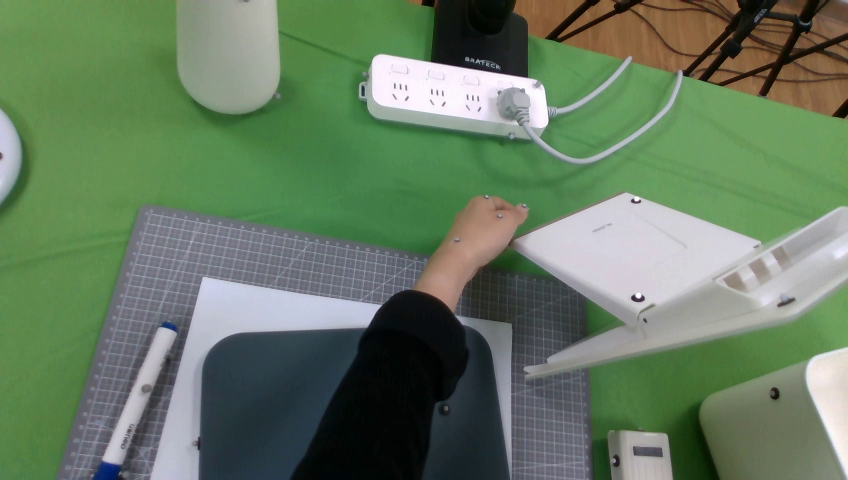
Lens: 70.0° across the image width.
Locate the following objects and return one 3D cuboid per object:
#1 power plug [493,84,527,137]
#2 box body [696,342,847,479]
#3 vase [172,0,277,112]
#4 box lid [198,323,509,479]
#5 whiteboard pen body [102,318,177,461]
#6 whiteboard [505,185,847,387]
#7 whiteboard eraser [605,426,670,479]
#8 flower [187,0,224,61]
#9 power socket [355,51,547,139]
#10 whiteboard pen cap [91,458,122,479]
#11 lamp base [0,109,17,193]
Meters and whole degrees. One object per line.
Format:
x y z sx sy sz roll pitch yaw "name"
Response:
0.092 -0.140 0.672 0.035 0.053 0.072 15 70 -11 "power plug"
0.443 0.276 0.551 0.255 0.161 0.361 -7 69 -20 "box body"
-0.181 -0.205 0.546 0.098 0.201 0.097 6 64 -13 "vase"
-0.046 0.246 0.494 0.264 0.015 0.368 0 68 -18 "box lid"
-0.229 0.129 0.479 0.017 0.017 0.140 18 65 -9 "whiteboard pen body"
0.207 -0.004 0.514 0.218 0.306 0.143 -21 79 -26 "whiteboard"
0.199 0.231 0.563 0.056 0.042 0.112 9 65 -16 "whiteboard eraser"
-0.141 -0.226 0.475 0.044 0.361 0.038 -36 98 -36 "flower"
0.036 -0.163 0.690 0.228 0.033 0.071 5 66 -16 "power socket"
-0.241 0.181 0.455 0.018 0.018 0.033 18 64 -8 "whiteboard pen cap"
-0.423 -0.111 0.438 0.179 0.181 0.160 39 61 6 "lamp base"
